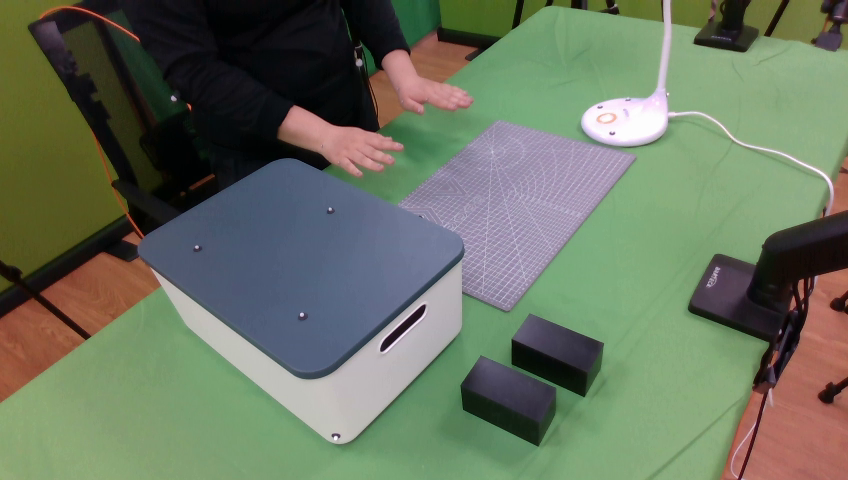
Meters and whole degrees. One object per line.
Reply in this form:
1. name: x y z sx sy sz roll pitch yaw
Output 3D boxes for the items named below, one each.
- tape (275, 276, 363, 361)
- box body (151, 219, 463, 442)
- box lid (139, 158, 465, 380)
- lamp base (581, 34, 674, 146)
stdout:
1. tape: -0.143 0.107 0.831 0.117 0.053 0.116 -4 41 4
2. box body: -0.152 0.064 0.807 0.361 0.161 0.255 26 51 33
3. box lid: -0.158 0.010 0.757 0.368 0.015 0.264 26 50 33
4. lamp base: 0.392 -0.291 1.129 0.180 0.181 0.159 -11 41 -8
